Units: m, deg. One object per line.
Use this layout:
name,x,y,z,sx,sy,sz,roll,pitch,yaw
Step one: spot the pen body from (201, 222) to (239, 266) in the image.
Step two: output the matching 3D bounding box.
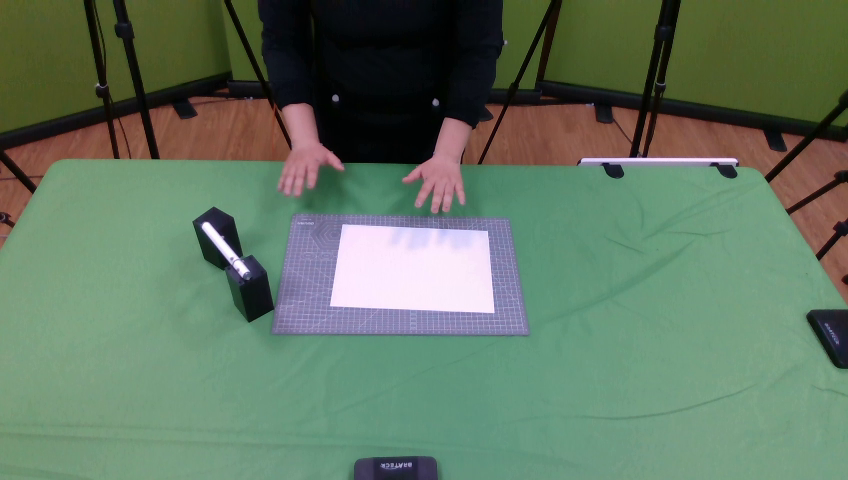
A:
pen body,-0.338,0.014,1.023,0.017,0.017,0.143,-29,53,-28

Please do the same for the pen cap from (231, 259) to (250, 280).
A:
pen cap,-0.299,0.049,0.991,0.017,0.017,0.038,-29,55,-28
